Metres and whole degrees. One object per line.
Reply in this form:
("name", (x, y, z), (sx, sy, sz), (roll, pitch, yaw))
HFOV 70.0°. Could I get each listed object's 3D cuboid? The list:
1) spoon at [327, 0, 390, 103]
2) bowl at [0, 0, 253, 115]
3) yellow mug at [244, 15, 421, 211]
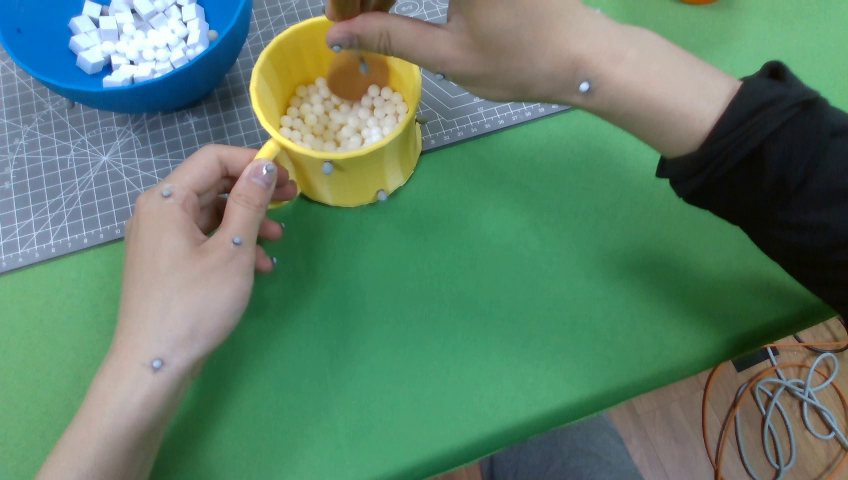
("spoon", (-0.037, -0.105, 0.312), (0.041, 0.193, 0.021), (-15, 90, -4))
("bowl", (-0.179, -0.136, 0.393), (0.151, 0.077, 0.150), (0, 69, -1))
("yellow mug", (-0.062, -0.068, 0.376), (0.099, 0.064, 0.130), (37, 73, 13))
